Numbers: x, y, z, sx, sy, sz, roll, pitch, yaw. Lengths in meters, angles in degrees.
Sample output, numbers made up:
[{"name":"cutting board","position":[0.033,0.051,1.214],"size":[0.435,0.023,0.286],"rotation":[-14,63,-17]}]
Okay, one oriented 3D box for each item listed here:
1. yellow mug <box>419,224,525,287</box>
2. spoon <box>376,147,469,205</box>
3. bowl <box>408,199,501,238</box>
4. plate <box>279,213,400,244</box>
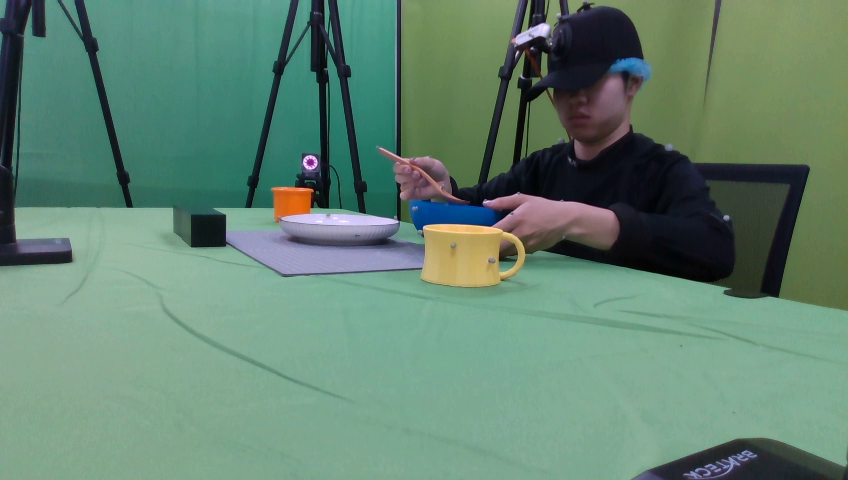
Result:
[{"name":"yellow mug","position":[0.060,0.018,0.746],"size":[0.131,0.064,0.100],"rotation":[3,7,-7]},{"name":"spoon","position":[-0.005,-0.110,1.022],"size":[0.193,0.021,0.042],"rotation":[37,14,18]},{"name":"bowl","position":[0.044,-0.018,0.968],"size":[0.151,0.077,0.151],"rotation":[7,6,0]},{"name":"plate","position":[-0.147,-0.020,1.060],"size":[0.209,0.038,0.209],"rotation":[3,7,0]}]
